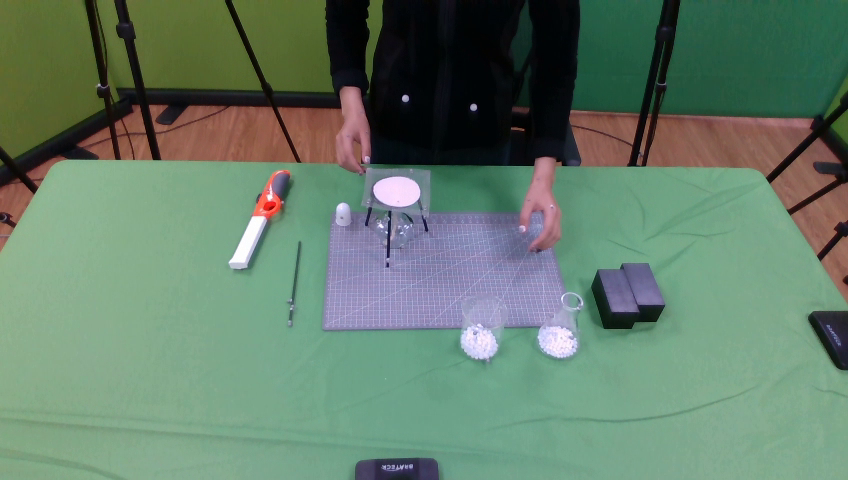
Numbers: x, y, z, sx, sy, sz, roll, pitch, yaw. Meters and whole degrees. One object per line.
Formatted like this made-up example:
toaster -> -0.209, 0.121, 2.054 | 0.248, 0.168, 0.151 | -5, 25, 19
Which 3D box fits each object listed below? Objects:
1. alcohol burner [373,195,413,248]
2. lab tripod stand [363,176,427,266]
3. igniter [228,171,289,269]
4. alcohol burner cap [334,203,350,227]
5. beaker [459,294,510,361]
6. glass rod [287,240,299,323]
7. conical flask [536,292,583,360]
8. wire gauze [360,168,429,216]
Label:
alcohol burner -> -0.059, -0.041, 1.167 | 0.078, 0.119, 0.077 | 4, 46, -4
lab tripod stand -> -0.058, -0.047, 1.159 | 0.148, 0.132, 0.147 | 3, 44, -2
igniter -> -0.328, -0.049, 1.218 | 0.057, 0.025, 0.275 | 0, 45, 11
alcohol burner cap -> -0.166, -0.054, 1.221 | 0.034, 0.048, 0.033 | 2, 46, -2
beaker -> 0.095, 0.147, 1.012 | 0.083, 0.101, 0.074 | 26, 49, 21
glass rod -> -0.242, 0.072, 1.119 | 0.008, 0.008, 0.198 | -1, 46, -4
conical flask -> 0.234, 0.139, 1.015 | 0.075, 0.122, 0.075 | 2, 46, -2
wire gauze -> -0.052, -0.093, 1.111 | 0.125, 0.011, 0.120 | 5, 44, -1
